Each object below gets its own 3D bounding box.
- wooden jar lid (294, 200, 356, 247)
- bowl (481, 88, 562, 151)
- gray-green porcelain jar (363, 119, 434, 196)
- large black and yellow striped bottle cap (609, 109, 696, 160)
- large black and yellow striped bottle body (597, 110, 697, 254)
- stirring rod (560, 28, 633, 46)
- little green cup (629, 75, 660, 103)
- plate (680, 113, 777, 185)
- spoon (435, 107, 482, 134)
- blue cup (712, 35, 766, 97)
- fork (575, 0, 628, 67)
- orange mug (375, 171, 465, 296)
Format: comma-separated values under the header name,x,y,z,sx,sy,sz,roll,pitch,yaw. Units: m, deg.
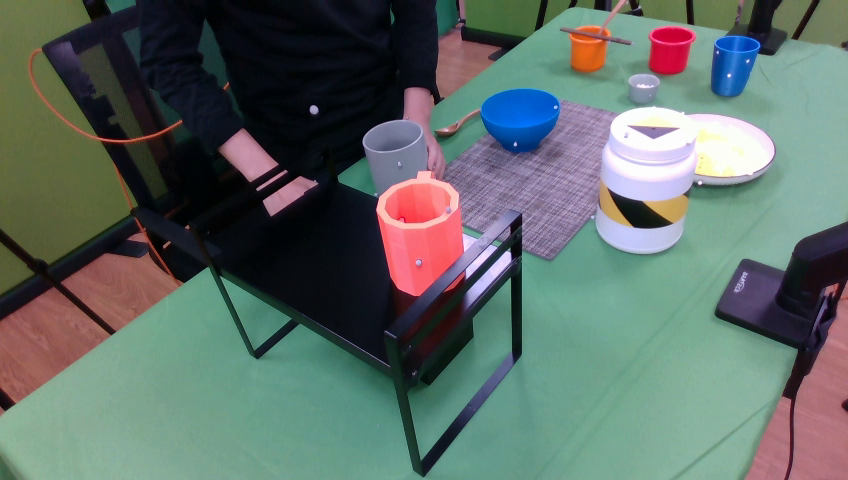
name,x,y,z,sx,sy,sz,roll,pitch,yaw
wooden jar lid,-0.164,-0.026,1.016,0.108,0.021,0.108,-10,40,9
bowl,0.187,-0.223,1.161,0.151,0.077,0.150,-4,40,4
gray-green porcelain jar,-0.040,-0.129,1.053,0.106,0.127,0.105,-8,39,7
large black and yellow striped bottle cap,0.319,-0.150,0.849,0.115,0.019,0.114,-4,40,3
large black and yellow striped bottle body,0.331,-0.086,0.904,0.131,0.185,0.130,-5,41,4
stirring rod,0.381,-0.452,1.345,0.174,0.006,0.014,26,51,33
little green cup,0.458,-0.314,1.260,0.061,0.039,0.061,-4,40,4
plate,0.506,-0.158,1.073,0.209,0.038,0.208,-5,40,4
spoon,0.100,-0.261,1.268,0.194,0.022,0.041,-34,28,-27
blue cup,0.628,-0.350,1.227,0.092,0.100,0.092,-4,39,4
fork,0.413,-0.481,1.377,0.207,0.019,0.028,-56,43,12
orange mug,0.000,-0.016,0.661,0.083,0.101,0.125,-2,45,8
